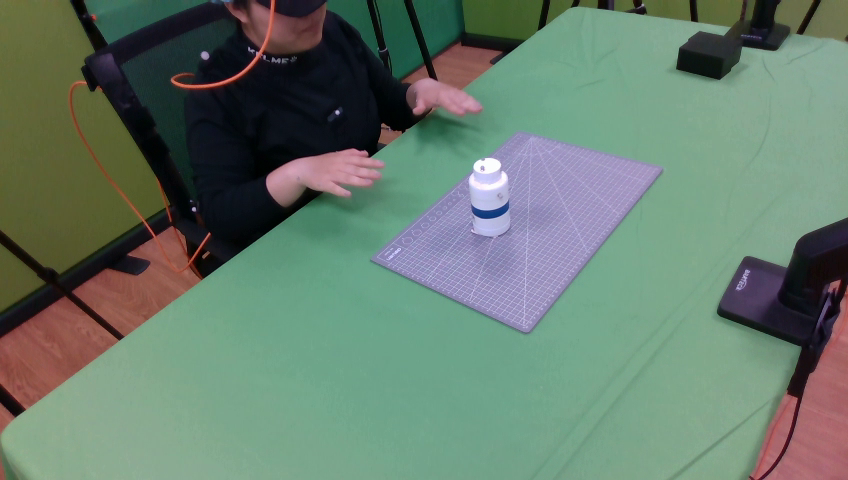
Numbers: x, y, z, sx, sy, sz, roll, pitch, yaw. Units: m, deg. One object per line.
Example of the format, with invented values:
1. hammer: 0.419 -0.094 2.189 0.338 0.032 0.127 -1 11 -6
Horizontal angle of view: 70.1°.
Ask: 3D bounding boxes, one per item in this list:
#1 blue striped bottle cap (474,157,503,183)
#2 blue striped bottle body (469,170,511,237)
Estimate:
1. blue striped bottle cap: 0.099 -0.108 0.931 0.044 0.021 0.044 -6 41 6
2. blue striped bottle body: 0.105 -0.069 0.963 0.063 0.121 0.063 -6 40 5
